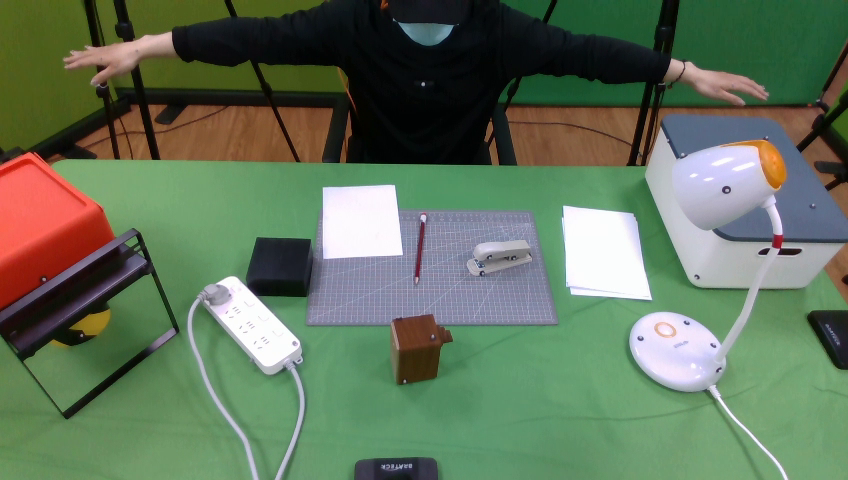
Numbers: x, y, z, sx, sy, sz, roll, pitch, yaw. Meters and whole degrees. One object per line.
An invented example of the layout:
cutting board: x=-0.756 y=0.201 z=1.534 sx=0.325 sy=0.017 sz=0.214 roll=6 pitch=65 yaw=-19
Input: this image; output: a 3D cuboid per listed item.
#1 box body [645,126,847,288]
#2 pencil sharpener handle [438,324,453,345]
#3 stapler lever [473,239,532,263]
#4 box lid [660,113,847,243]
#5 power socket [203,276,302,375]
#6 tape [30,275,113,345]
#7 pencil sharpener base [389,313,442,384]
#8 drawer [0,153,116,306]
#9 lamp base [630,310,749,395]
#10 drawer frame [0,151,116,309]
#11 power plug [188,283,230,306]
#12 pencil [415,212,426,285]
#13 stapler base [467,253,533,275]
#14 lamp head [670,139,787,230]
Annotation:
box body: x=0.625 y=-0.080 z=1.222 sx=0.254 sy=0.161 sz=0.361 roll=0 pitch=46 yaw=-3
pencil sharpener handle: x=0.036 y=0.155 z=0.976 sx=0.031 sy=0.068 sz=0.036 roll=-8 pitch=69 yaw=-11
stapler lever: x=0.150 y=0.017 z=1.155 sx=0.118 sy=0.040 sz=0.026 roll=-13 pitch=50 yaw=-17
box lid: x=0.628 y=-0.132 z=1.170 sx=0.263 sy=0.015 sz=0.369 roll=1 pitch=46 yaw=-3
power socket: x=-0.297 y=0.141 z=1.034 sx=0.072 sy=0.033 sz=0.225 roll=-34 pitch=58 yaw=-30
tape: x=-0.593 y=0.117 z=1.021 sx=0.117 sy=0.053 sz=0.116 roll=3 pitch=46 yaw=-2
pencil sharpener base: x=-0.013 y=0.175 z=0.971 sx=0.077 sy=0.107 sz=0.061 roll=-8 pitch=47 yaw=-12
drawer: x=-0.601 y=-0.015 z=0.880 sx=0.193 sy=0.073 sz=0.211 roll=32 pitch=53 yaw=23
lamp base: x=0.447 y=0.142 z=0.984 sx=0.161 sy=0.181 sz=0.178 roll=-24 pitch=55 yaw=-24
drawer frame: x=-0.604 y=-0.013 z=0.875 sx=0.201 sy=0.083 sz=0.213 roll=31 pitch=52 yaw=23
power plug: x=-0.368 y=0.099 z=1.037 sx=0.072 sy=0.053 sz=0.035 roll=-24 pitch=52 yaw=-25
pencil: x=-0.007 y=0.014 z=1.190 sx=0.012 sy=0.012 sz=0.193 roll=5 pitch=47 yaw=0
stapler base: x=0.148 y=0.034 z=1.171 sx=0.131 sy=0.024 sz=0.041 roll=-12 pitch=50 yaw=-18
lamp head: x=0.415 y=-0.079 z=0.812 sx=0.113 sy=0.123 sz=0.112 roll=13 pitch=70 yaw=-37
